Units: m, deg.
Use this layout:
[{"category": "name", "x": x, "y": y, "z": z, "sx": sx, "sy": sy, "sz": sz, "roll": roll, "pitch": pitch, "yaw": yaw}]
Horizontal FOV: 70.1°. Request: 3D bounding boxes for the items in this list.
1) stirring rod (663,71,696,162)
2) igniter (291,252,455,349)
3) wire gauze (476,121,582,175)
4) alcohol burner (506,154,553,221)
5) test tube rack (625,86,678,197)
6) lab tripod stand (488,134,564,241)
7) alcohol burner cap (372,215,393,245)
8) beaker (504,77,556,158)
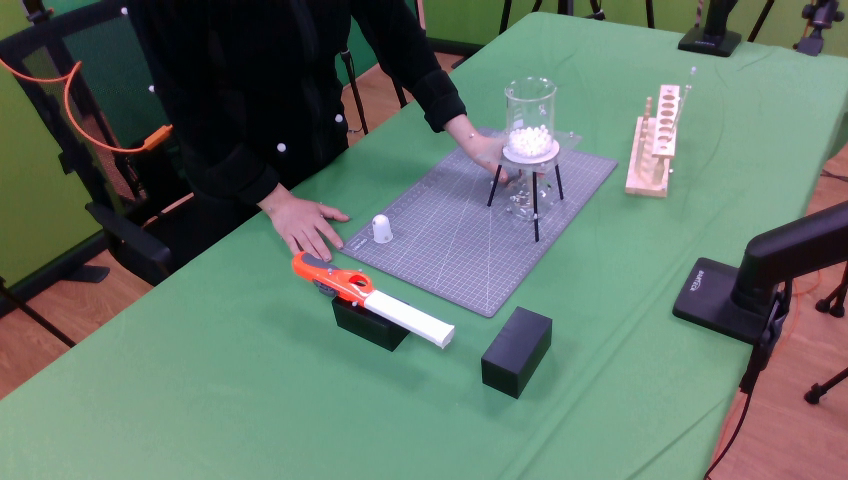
[{"category": "stirring rod", "x": 0.411, "y": -0.195, "z": 0.981, "sx": 0.014, "sy": 0.177, "sz": 0.006, "roll": 11, "pitch": 50, "yaw": 13}, {"category": "igniter", "x": -0.080, "y": 0.076, "z": 0.822, "sx": 0.274, "sy": 0.025, "sz": 0.057, "roll": 23, "pitch": 46, "yaw": 27}, {"category": "wire gauze", "x": 0.162, "y": -0.141, "z": 0.929, "sx": 0.120, "sy": 0.011, "sz": 0.125, "roll": 19, "pitch": 49, "yaw": 32}, {"category": "alcohol burner", "x": 0.171, "y": -0.090, "z": 0.984, "sx": 0.078, "sy": 0.119, "sz": 0.077, "roll": -5, "pitch": 42, "yaw": 5}, {"category": "test tube rack", "x": 0.412, "y": -0.184, "z": 1.088, "sx": 0.066, "sy": 0.085, "sz": 0.242, "roll": 9, "pitch": 43, "yaw": 18}, {"category": "lab tripod stand", "x": 0.168, "y": -0.092, "z": 0.972, "sx": 0.148, "sy": 0.132, "sz": 0.147, "roll": -5, "pitch": 41, "yaw": 5}, {"category": "alcohol burner cap", "x": -0.070, "y": -0.019, "z": 0.990, "sx": 0.034, "sy": 0.048, "sz": 0.033, "roll": -4, "pitch": 41, "yaw": 4}, {"category": "beaker", "x": 0.160, "y": -0.181, "z": 0.900, "sx": 0.084, "sy": 0.101, "sz": 0.073, "roll": -33, "pitch": 46, "yaw": -27}]
